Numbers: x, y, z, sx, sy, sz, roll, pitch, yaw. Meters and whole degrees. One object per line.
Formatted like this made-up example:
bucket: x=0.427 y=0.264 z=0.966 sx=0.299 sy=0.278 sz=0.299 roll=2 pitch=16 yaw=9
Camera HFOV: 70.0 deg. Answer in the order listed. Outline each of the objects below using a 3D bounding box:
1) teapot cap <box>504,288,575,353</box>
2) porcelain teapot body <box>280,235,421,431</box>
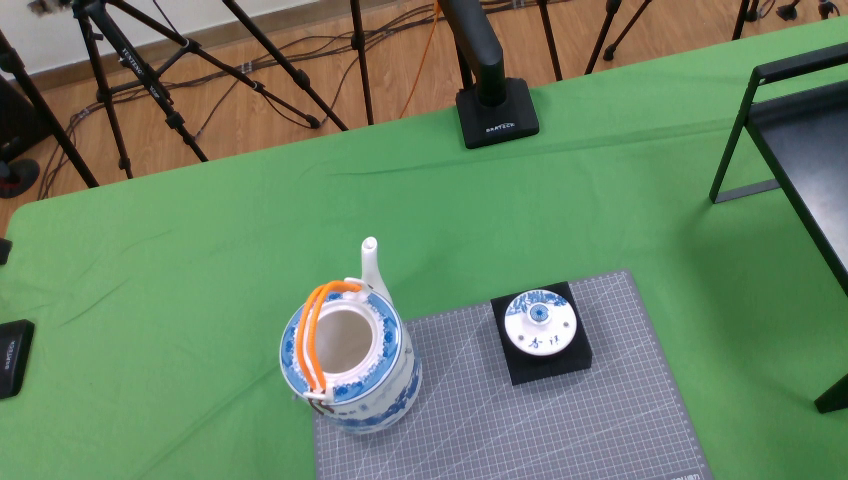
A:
teapot cap: x=0.137 y=0.093 z=0.721 sx=0.085 sy=0.044 sz=0.084 roll=-6 pitch=56 yaw=9
porcelain teapot body: x=-0.084 y=0.101 z=0.714 sx=0.145 sy=0.227 sz=0.204 roll=6 pitch=61 yaw=15
